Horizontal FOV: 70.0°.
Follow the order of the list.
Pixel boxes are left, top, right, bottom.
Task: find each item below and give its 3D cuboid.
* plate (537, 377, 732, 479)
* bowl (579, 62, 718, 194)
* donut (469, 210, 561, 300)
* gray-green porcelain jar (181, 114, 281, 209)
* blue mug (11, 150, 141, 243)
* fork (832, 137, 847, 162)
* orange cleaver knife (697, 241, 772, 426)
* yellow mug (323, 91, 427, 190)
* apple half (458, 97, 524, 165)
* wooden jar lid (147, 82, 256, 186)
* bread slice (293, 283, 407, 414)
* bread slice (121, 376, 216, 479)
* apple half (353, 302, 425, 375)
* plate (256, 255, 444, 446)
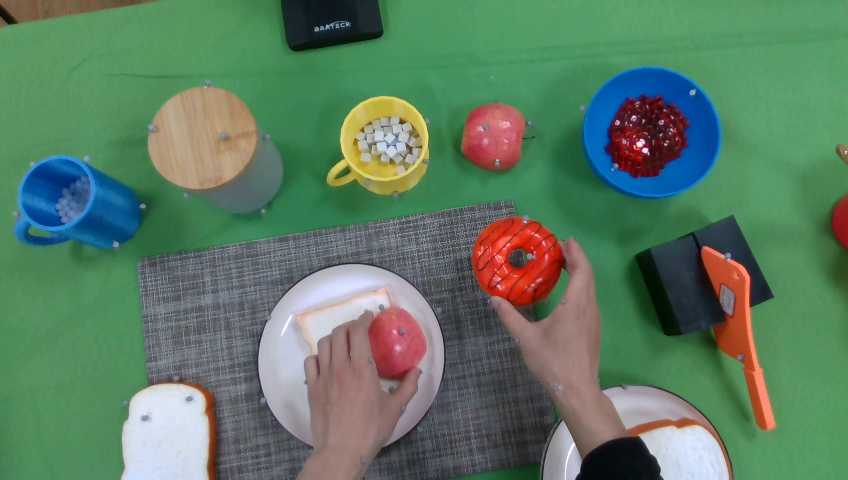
[{"bbox_3d":[0.225,0.255,0.662,0.209,0.038,0.208,0,81,0],"label":"plate"},{"bbox_3d":[0.246,-0.118,0.699,0.151,0.077,0.151,0,82,1],"label":"bowl"},{"bbox_3d":[0.097,0.016,0.650,0.099,0.048,0.098,0,81,-1],"label":"donut"},{"bbox_3d":[-0.221,-0.094,0.672,0.106,0.127,0.105,0,80,0],"label":"gray-green porcelain jar"},{"bbox_3d":[-0.394,-0.036,0.674,0.116,0.106,0.082,-35,82,-5],"label":"blue mug"},{"bbox_3d":[0.481,-0.058,0.653,0.209,0.018,0.028,28,78,-37],"label":"fork"},{"bbox_3d":[0.338,0.102,0.663,0.012,0.077,0.212,-21,103,-10],"label":"orange cleaver knife"},{"bbox_3d":[-0.060,-0.106,0.704,0.131,0.064,0.099,-33,82,-4],"label":"yellow mug"},{"bbox_3d":[0.080,-0.133,0.715,0.074,0.053,0.080,13,82,5],"label":"apple half"},{"bbox_3d":[-0.222,-0.105,0.611,0.108,0.021,0.108,0,79,1],"label":"wooden jar lid"},{"bbox_3d":[-0.075,0.125,0.680,0.107,0.018,0.134,-20,83,-4],"label":"bread slice"},{"bbox_3d":[-0.286,0.219,0.676,0.105,0.019,0.131,-2,82,-1],"label":"bread slice"},{"bbox_3d":[-0.037,0.108,0.660,0.081,0.033,0.081,0,79,-1],"label":"apple half"},{"bbox_3d":[-0.081,0.122,0.680,0.208,0.039,0.207,0,81,0],"label":"plate"}]
